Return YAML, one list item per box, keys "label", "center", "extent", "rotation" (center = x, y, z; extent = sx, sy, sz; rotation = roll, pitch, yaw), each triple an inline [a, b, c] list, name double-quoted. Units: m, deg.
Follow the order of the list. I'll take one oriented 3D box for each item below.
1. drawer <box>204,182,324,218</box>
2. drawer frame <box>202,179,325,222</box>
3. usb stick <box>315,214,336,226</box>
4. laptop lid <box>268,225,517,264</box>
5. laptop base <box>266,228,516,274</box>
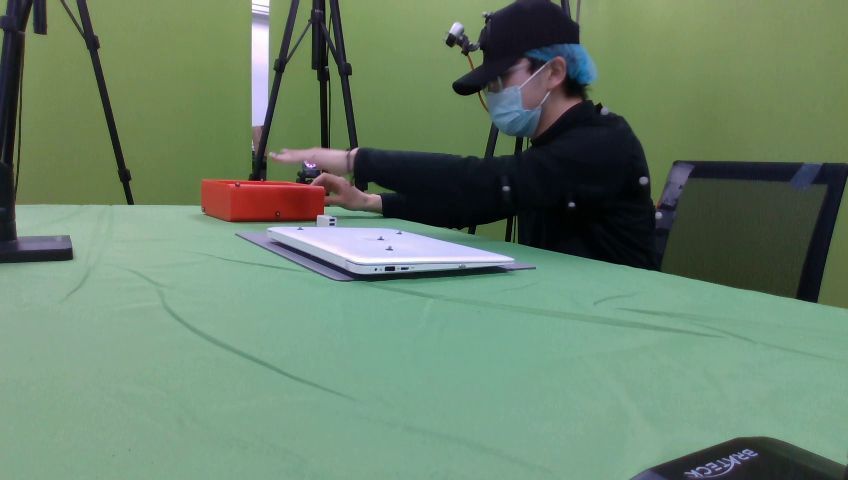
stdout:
- label: "drawer"
  center: [-0.360, -0.092, 1.359]
  extent: [0.213, 0.073, 0.193]
  rotation: [-3, 10, -36]
- label: "drawer frame"
  center: [-0.361, -0.092, 1.357]
  extent: [0.215, 0.082, 0.200]
  rotation: [-4, 10, -37]
- label: "usb stick"
  center: [-0.200, -0.038, 1.212]
  extent: [0.021, 0.027, 0.059]
  rotation: [-5, 7, -39]
- label: "laptop lid"
  center: [-0.063, 0.002, 0.877]
  extent: [0.243, 0.013, 0.355]
  rotation: [1, 7, -30]
- label: "laptop base"
  center: [-0.066, 0.014, 0.877]
  extent: [0.237, 0.023, 0.352]
  rotation: [2, 6, -32]
